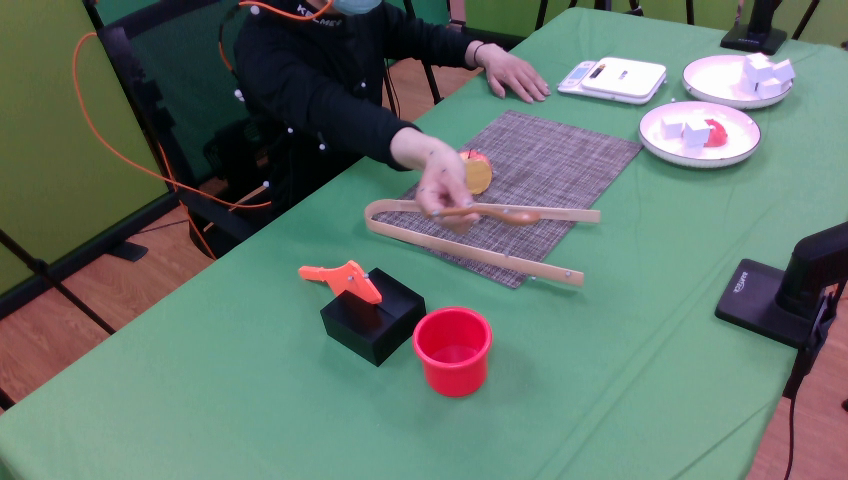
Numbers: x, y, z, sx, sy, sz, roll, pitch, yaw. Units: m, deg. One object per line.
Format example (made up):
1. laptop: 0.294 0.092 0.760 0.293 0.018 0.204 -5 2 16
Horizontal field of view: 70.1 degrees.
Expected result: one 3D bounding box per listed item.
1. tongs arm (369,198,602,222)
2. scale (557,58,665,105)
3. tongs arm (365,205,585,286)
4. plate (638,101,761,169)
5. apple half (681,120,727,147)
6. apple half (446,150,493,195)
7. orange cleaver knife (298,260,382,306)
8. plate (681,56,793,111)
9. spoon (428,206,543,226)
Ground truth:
1. tongs arm: 0.097 -0.048 1.008 0.386 0.028 0.028 3 46 13
2. scale: 0.407 -0.348 1.314 0.199 0.032 0.149 19 47 28
3. tongs arm: 0.067 0.004 0.951 0.382 0.026 0.051 13 46 23
4. plate: 0.500 -0.189 1.111 0.209 0.038 0.208 -4 41 4
5. apple half: 0.518 -0.203 1.115 0.081 0.033 0.081 -1 40 2
6. apple half: 0.080 -0.124 1.065 0.081 0.075 0.053 -6 36 7
7. orange cleaver knife: -0.126 0.063 0.876 0.012 0.077 0.210 -38 19 -30
8. plate: 0.636 -0.317 1.239 0.207 0.039 0.206 -4 40 4
9. spoon: 0.076 -0.031 0.723 0.195 0.021 0.041 4 9 -43
